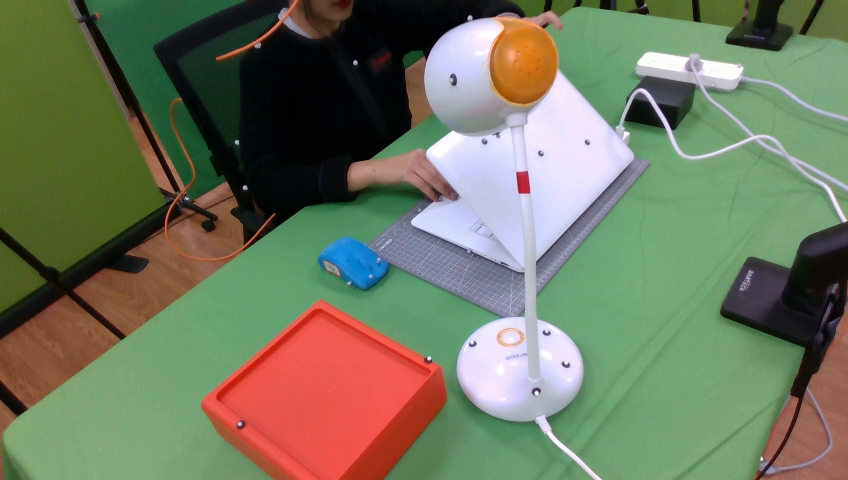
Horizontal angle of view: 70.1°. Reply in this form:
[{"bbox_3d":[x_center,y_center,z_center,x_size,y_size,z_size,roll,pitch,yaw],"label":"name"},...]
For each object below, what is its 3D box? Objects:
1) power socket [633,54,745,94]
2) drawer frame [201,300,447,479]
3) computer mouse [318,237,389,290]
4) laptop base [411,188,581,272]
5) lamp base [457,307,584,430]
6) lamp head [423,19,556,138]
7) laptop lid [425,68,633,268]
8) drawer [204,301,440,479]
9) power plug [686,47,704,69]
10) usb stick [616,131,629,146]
[{"bbox_3d":[0.563,-0.358,1.295,0.225,0.033,0.072,21,50,30],"label":"power socket"},{"bbox_3d":[-0.117,0.193,0.733,0.212,0.083,0.202,23,48,32],"label":"drawer frame"},{"bbox_3d":[-0.113,0.033,0.959,0.116,0.041,0.063,28,51,31],"label":"computer mouse"},{"bbox_3d":[0.175,-0.082,1.055,0.233,0.023,0.355,22,49,36],"label":"laptop base"},{"bbox_3d":[0.115,0.108,0.713,0.161,0.181,0.178,-16,42,-8],"label":"lamp base"},{"bbox_3d":[0.068,-0.151,0.563,0.113,0.113,0.122,-21,18,-13],"label":"lamp head"},{"bbox_3d":[0.187,-0.138,0.982,0.358,0.013,0.241,-39,89,-33],"label":"laptop lid"},{"bbox_3d":[-0.119,0.193,0.735,0.210,0.073,0.195,23,49,32],"label":"drawer"},{"bbox_3d":[0.564,-0.384,1.247,0.035,0.073,0.052,22,72,15],"label":"power plug"},{"bbox_3d":[0.353,-0.174,1.109,0.021,0.027,0.059,26,53,31],"label":"usb stick"}]
